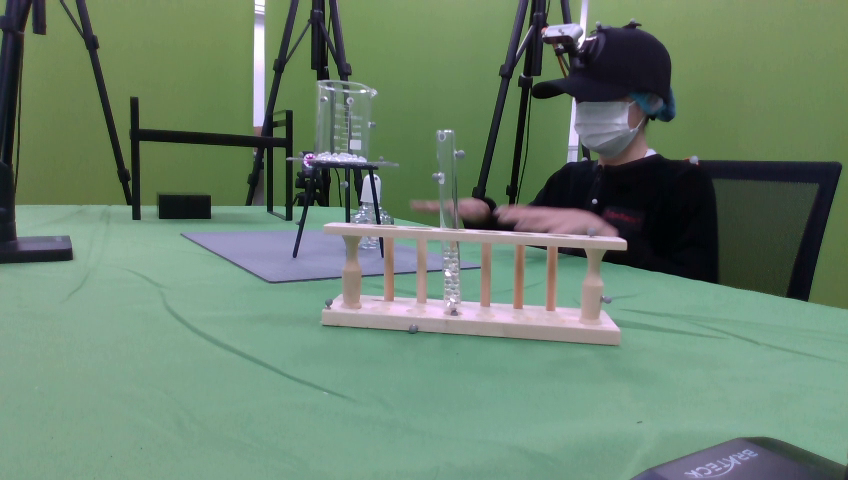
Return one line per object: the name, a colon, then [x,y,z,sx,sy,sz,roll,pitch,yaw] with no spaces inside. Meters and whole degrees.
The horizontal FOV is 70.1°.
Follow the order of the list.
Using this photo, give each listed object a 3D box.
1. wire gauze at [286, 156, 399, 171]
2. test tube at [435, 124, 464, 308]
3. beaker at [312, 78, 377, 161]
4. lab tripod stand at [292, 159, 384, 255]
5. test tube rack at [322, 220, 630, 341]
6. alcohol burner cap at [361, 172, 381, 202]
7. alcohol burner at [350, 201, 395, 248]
wire gauze: [-0.101,-0.103,0.788,0.121,0.011,0.125,5,4,6]
test tube: [0.021,-0.018,0.491,0.017,0.150,0.017,-3,6,1]
beaker: [-0.103,-0.151,0.775,0.084,0.100,0.074,5,7,14]
lab tripod stand: [-0.105,-0.039,0.797,0.148,0.131,0.148,2,5,0]
test tube rack: [0.041,0.029,0.512,0.242,0.085,0.067,3,7,5]
alcohol burner cap: [-0.081,-0.084,0.949,0.034,0.048,0.034,7,7,-1]
alcohol burner: [-0.084,-0.048,0.953,0.078,0.119,0.078,1,6,0]
